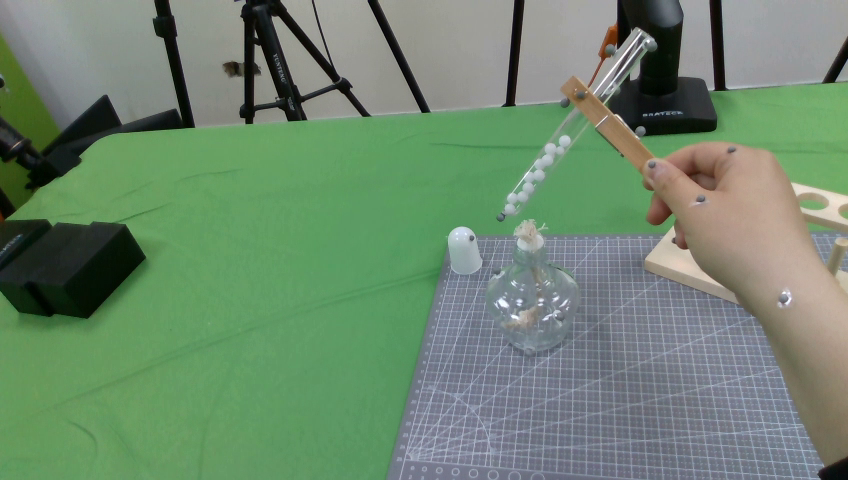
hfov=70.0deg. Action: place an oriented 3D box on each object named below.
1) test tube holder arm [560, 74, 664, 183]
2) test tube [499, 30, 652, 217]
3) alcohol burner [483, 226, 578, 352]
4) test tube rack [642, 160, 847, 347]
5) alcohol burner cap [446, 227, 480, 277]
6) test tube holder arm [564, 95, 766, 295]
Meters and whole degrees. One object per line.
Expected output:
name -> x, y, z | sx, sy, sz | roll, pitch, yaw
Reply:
test tube holder arm -> 0.123, -0.073, 0.397 | 0.015, 0.010, 0.087 | -42, 80, 17
test tube -> 0.100, -0.075, 0.414 | 0.017, 0.150, 0.017 | 31, 23, -14
alcohol burner -> 0.085, 0.035, 0.488 | 0.078, 0.120, 0.077 | -6, 41, 6
test tube rack -> 0.302, 0.017, 0.473 | 0.240, 0.086, 0.066 | 24, 51, 37
alcohol burner cap -> 0.037, 0.009, 0.590 | 0.034, 0.048, 0.033 | -6, 40, 6
test tube holder arm -> 0.151, -0.038, 0.391 | 0.015, 0.013, 0.177 | -42, 71, 17
